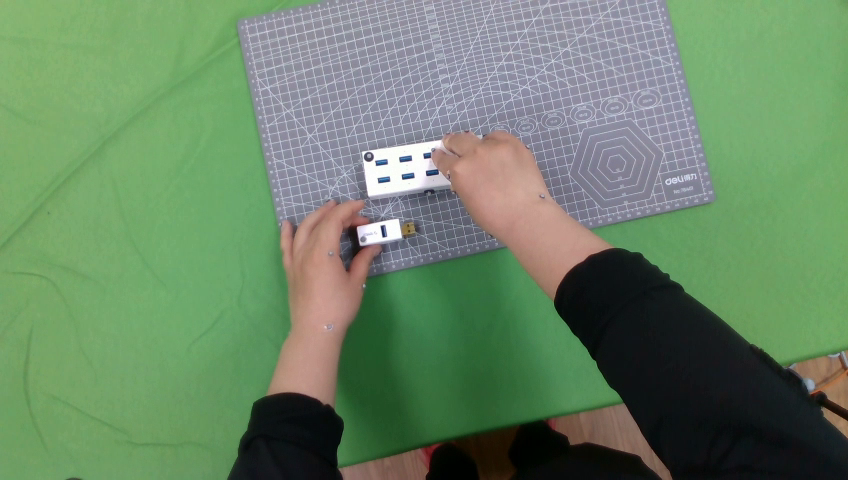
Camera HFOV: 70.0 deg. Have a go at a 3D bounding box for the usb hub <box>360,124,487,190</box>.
[{"bbox_3d":[-0.001,-0.087,0.624,0.125,0.025,0.049,-8,86,1],"label":"usb hub"}]

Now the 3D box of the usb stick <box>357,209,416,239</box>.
[{"bbox_3d":[-0.038,-0.017,0.620,0.059,0.027,0.021,-10,79,0],"label":"usb stick"}]
